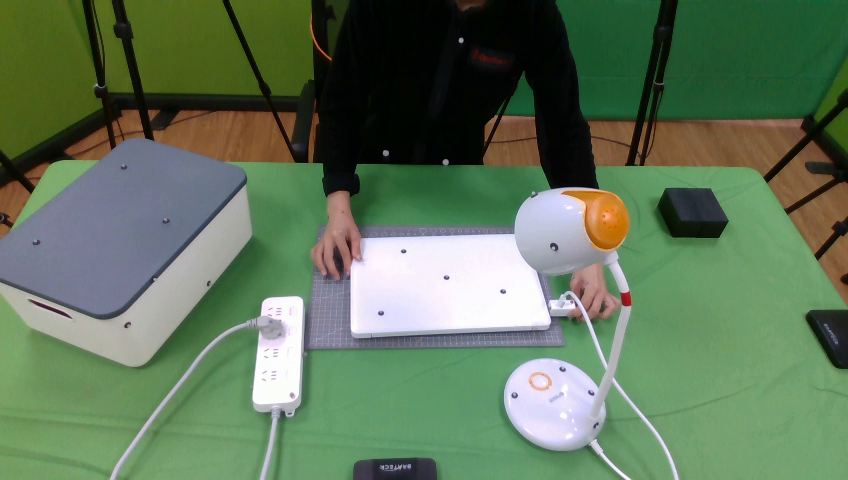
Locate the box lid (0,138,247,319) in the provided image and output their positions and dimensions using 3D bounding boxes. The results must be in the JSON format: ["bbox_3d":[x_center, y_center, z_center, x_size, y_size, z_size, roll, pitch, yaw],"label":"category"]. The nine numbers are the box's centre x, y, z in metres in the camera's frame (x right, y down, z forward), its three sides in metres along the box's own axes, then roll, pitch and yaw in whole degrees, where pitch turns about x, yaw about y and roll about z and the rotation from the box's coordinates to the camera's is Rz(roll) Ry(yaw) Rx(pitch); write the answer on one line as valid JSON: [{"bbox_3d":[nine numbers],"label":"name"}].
[{"bbox_3d":[-0.494,-0.037,0.994,0.263,0.015,0.370,17,46,12],"label":"box lid"}]

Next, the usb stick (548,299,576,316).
[{"bbox_3d":[0.240,0.121,1.084,0.059,0.027,0.021,-2,52,-2],"label":"usb stick"}]

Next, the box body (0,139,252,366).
[{"bbox_3d":[-0.496,0.013,1.048,0.254,0.161,0.362,17,47,12],"label":"box body"}]

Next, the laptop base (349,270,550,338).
[{"bbox_3d":[0.039,0.082,1.125,0.355,0.023,0.234,-2,43,-6],"label":"laptop base"}]

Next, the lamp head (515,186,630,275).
[{"bbox_3d":[0.188,-0.013,0.728,0.112,0.112,0.122,-25,9,-25],"label":"lamp head"}]

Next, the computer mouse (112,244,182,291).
[{"bbox_3d":[-0.493,0.046,1.078,0.117,0.041,0.062,24,42,13],"label":"computer mouse"}]

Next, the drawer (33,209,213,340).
[{"bbox_3d":[-0.509,0.054,1.046,0.194,0.073,0.211,15,43,10],"label":"drawer"}]

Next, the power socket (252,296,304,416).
[{"bbox_3d":[-0.238,0.182,0.997,0.072,0.033,0.225,-3,47,-5],"label":"power socket"}]

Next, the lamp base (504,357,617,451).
[{"bbox_3d":[0.220,0.211,0.903,0.160,0.181,0.178,-32,59,-30],"label":"lamp base"}]

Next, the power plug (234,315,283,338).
[{"bbox_3d":[-0.269,0.144,1.000,0.072,0.053,0.035,4,47,2],"label":"power plug"}]

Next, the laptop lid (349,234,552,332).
[{"bbox_3d":[0.040,0.072,1.118,0.357,0.013,0.240,0,44,-5],"label":"laptop lid"}]
